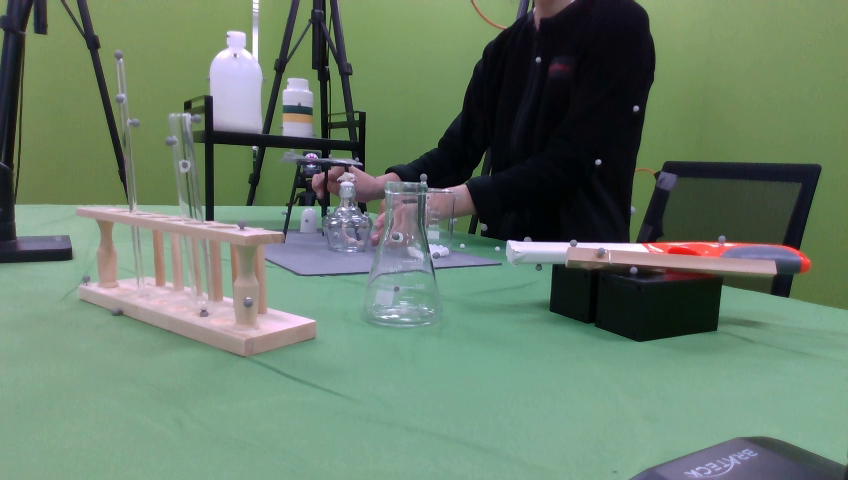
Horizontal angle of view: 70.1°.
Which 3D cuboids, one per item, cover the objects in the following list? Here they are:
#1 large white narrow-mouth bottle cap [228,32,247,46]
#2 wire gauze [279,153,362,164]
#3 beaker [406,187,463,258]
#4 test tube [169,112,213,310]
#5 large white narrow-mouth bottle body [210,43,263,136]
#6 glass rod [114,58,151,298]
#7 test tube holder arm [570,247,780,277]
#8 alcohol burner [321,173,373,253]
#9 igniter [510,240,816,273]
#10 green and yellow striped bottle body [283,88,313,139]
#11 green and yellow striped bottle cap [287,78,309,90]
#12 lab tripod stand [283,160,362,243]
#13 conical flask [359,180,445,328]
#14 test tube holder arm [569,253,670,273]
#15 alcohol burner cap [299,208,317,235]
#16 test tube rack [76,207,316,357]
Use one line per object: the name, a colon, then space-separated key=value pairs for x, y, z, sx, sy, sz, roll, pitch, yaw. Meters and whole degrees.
large white narrow-mouth bottle cap: x=-0.364 y=-0.391 z=1.180 sx=0.038 sy=0.024 sz=0.037 roll=3 pitch=8 yaw=0
wire gauze: x=-0.171 y=-0.131 z=0.987 sx=0.125 sy=0.011 sz=0.121 roll=1 pitch=6 yaw=-16
beaker: x=0.013 y=-0.026 z=0.893 sx=0.084 sy=0.100 sz=0.074 roll=3 pitch=8 yaw=-2
test tube: x=-0.175 y=-0.020 z=0.455 sx=0.017 sy=0.150 sz=0.017 roll=-3 pitch=9 yaw=1
large white narrow-mouth bottle body: x=-0.369 y=-0.305 z=1.194 sx=0.102 sy=0.194 sz=0.102 roll=3 pitch=8 yaw=0
glass rod: x=-0.236 y=-0.044 z=0.492 sx=0.008 sy=0.199 sz=0.008 roll=0 pitch=15 yaw=0
test tube holder arm: x=0.217 y=0.019 z=0.525 sx=0.178 sy=0.015 sz=0.013 roll=3 pitch=-23 yaw=3
alcohol burner: x=-0.115 y=-0.041 z=0.905 sx=0.078 sy=0.119 sz=0.078 roll=0 pitch=6 yaw=0
igniter: x=0.220 y=0.015 z=0.565 sx=0.277 sy=0.025 sz=0.057 roll=2 pitch=16 yaw=0
green and yellow striped bottle body: x=-0.265 y=-0.275 z=1.275 sx=0.063 sy=0.119 sz=0.063 roll=3 pitch=7 yaw=0
green and yellow striped bottle cap: x=-0.265 y=-0.326 z=1.268 sx=0.045 sy=0.020 sz=0.045 roll=4 pitch=6 yaw=0
lab tripod stand: x=-0.167 y=-0.064 z=0.992 sx=0.148 sy=0.131 sz=0.148 roll=1 pitch=7 yaw=0
conical flask: x=-0.017 y=0.010 z=0.522 sx=0.075 sy=0.122 sz=0.075 roll=2 pitch=8 yaw=0
test tube holder arm: x=0.172 y=0.019 z=0.532 sx=0.088 sy=0.015 sz=0.010 roll=3 pitch=-23 yaw=3
alcohol burner cap: x=-0.213 y=-0.035 z=1.110 sx=0.034 sy=0.048 sz=0.034 roll=4 pitch=7 yaw=0
test tube rack: x=-0.196 y=0.023 z=0.499 sx=0.241 sy=0.085 sz=0.067 roll=8 pitch=9 yaw=36
